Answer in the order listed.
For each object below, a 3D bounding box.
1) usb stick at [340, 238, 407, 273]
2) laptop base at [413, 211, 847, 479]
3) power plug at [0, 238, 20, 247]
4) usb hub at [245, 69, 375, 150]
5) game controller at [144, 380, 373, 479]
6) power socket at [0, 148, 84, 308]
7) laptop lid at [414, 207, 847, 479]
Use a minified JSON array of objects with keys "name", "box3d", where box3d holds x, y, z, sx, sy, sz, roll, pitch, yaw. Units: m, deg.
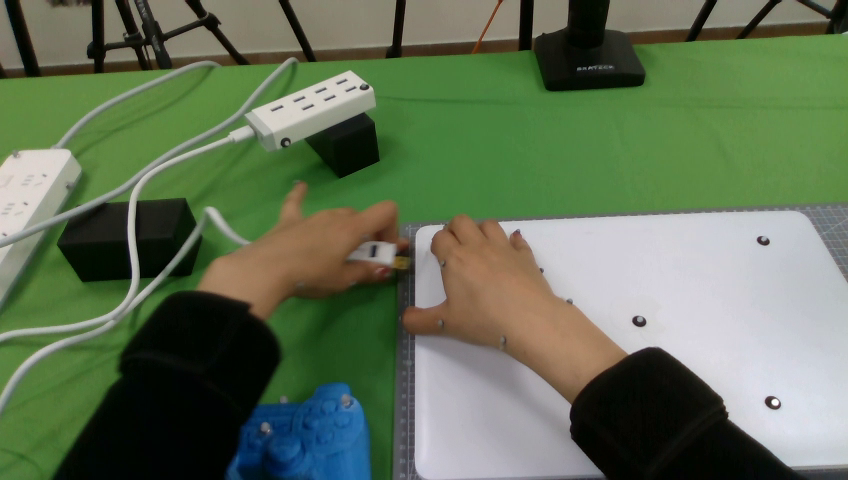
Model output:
[{"name":"usb stick","box3d":[-0.043,0.014,0.528,0.059,0.027,0.021,6,65,-10]},{"name":"laptop base","box3d":[0.168,0.071,0.483,0.354,0.023,0.233,-2,50,1]},{"name":"power plug","box3d":[-0.378,0.022,0.518,0.072,0.053,0.035,9,47,8]},{"name":"usb hub","box3d":[-0.115,-0.134,0.621,0.125,0.025,0.049,-30,53,-22]},{"name":"game controller","box3d":[-0.111,0.142,0.413,0.155,0.052,0.096,-2,42,2]},{"name":"power socket","box3d":[-0.406,-0.015,0.587,0.072,0.033,0.224,0,46,2]},{"name":"laptop lid","box3d":[0.167,0.065,0.473,0.357,0.013,0.239,-1,48,3]}]
